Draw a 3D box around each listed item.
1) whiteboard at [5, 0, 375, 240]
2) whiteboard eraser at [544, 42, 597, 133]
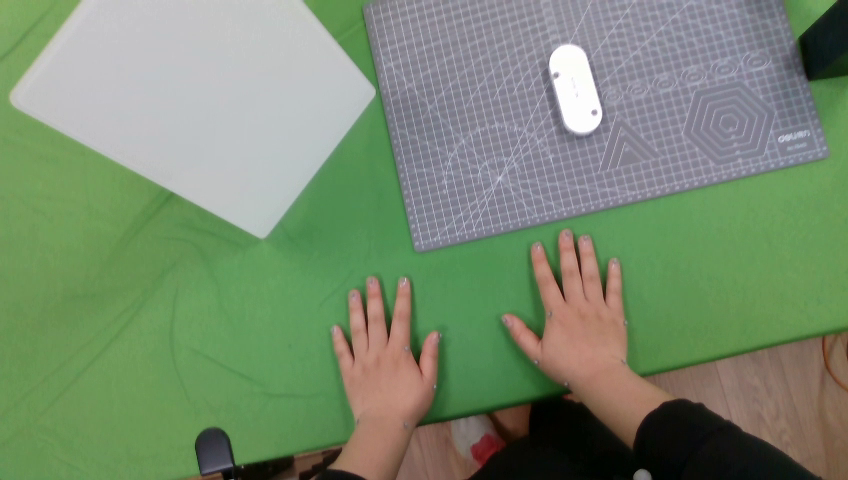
[{"bbox_3d":[-0.226,-0.169,0.601,0.142,0.308,0.217,37,89,30],"label":"whiteboard"},{"bbox_3d":[0.161,-0.168,0.666,0.041,0.019,0.101,-14,83,4],"label":"whiteboard eraser"}]
